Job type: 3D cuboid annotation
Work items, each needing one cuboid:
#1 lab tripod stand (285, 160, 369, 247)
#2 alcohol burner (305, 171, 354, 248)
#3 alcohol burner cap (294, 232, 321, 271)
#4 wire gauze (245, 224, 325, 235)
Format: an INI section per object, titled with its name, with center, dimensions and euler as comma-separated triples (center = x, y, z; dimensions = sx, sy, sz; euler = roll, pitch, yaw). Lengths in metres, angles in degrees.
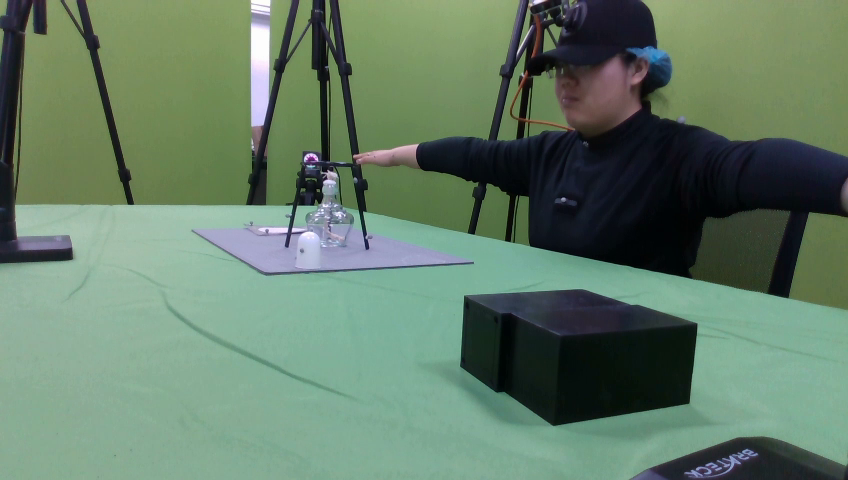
[lab tripod stand]
center = -0.151, -0.058, 0.947
dimensions = 0.148, 0.131, 0.148
euler = 1, 6, 0
[alcohol burner]
center = -0.148, -0.048, 0.949
dimensions = 0.078, 0.119, 0.078
euler = 1, 6, 0
[alcohol burner cap]
center = -0.144, 0.013, 0.748
dimensions = 0.034, 0.048, 0.034
euler = 2, 6, 0
[wire gauze]
center = -0.256, -0.020, 1.108
dimensions = 0.122, 0.011, 0.124
euler = -1, 6, -28
